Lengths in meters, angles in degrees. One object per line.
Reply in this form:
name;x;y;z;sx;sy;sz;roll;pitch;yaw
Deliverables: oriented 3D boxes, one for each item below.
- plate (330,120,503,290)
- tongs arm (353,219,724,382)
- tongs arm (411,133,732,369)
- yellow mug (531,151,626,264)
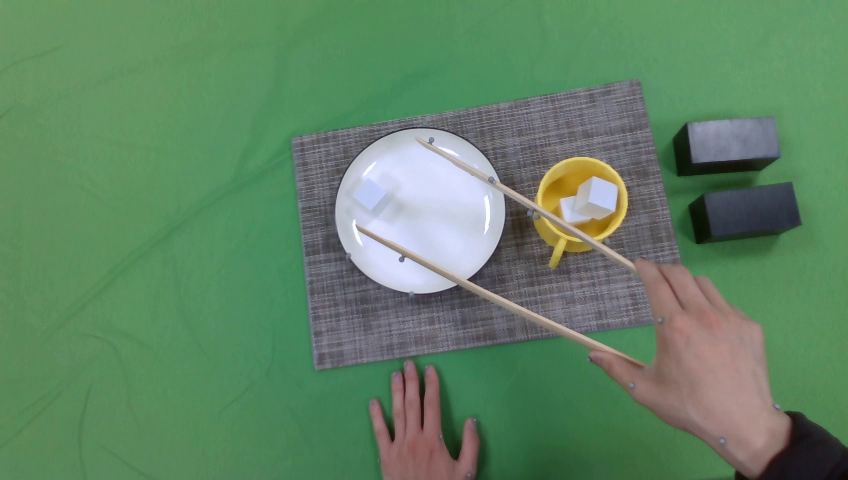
plate;-0.009;-0.041;0.736;0.207;0.039;0.207;-1;80;4
tongs arm;0.078;0.046;0.573;0.384;0.028;0.028;24;77;31
tongs arm;0.114;-0.008;0.576;0.381;0.027;0.050;33;85;32
yellow mug;0.172;-0.032;0.705;0.099;0.064;0.130;22;82;9
